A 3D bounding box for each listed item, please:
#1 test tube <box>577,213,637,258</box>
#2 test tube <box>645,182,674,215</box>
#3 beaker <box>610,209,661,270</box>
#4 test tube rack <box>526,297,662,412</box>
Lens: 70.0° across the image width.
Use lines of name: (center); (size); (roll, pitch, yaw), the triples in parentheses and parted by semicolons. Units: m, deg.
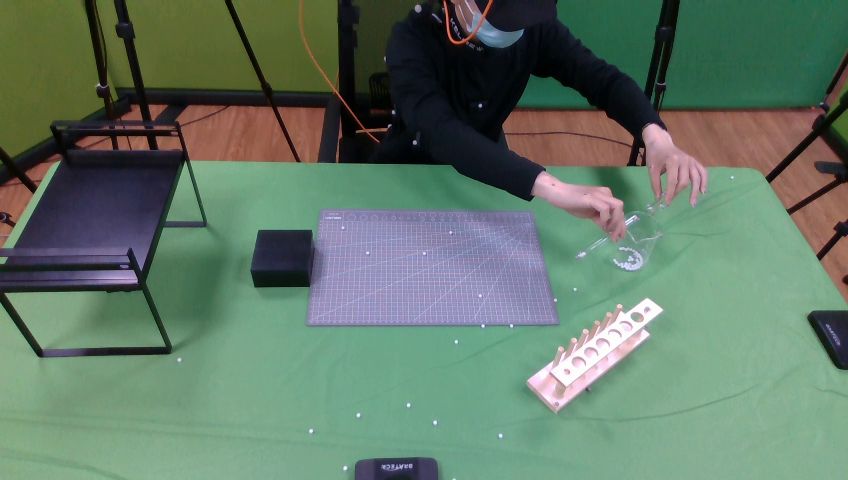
test tube: (0.332, -0.008, 1.096); (0.150, 0.017, 0.017); (-31, 56, -23)
test tube: (0.461, -0.082, 1.182); (0.017, 0.017, 0.150); (29, 39, 22)
beaker: (0.404, 0.005, 1.170); (0.074, 0.101, 0.083); (20, 49, 15)
test tube rack: (0.284, 0.176, 1.007); (0.242, 0.085, 0.066); (-29, 54, -27)
